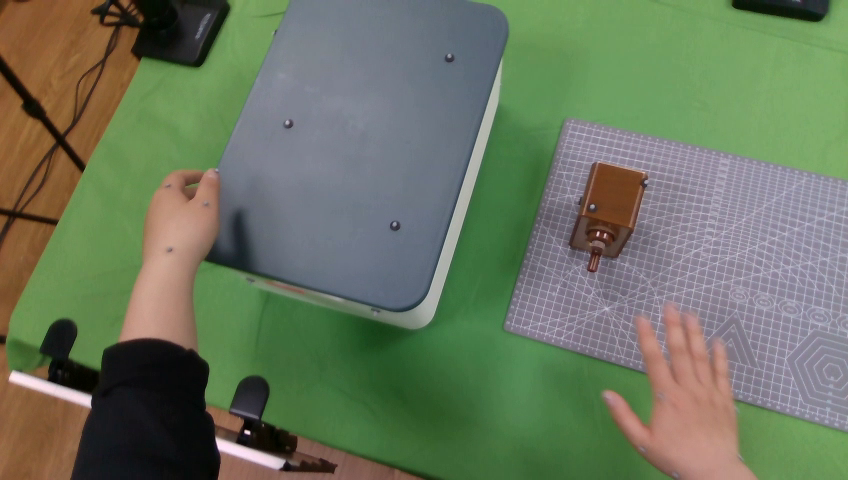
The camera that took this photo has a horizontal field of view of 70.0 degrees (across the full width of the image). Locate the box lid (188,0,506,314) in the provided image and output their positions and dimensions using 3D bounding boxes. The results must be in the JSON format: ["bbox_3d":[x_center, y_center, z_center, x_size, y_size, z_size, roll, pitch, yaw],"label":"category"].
[{"bbox_3d":[-0.076,-0.121,0.657,0.262,0.015,0.369,14,73,10],"label":"box lid"}]

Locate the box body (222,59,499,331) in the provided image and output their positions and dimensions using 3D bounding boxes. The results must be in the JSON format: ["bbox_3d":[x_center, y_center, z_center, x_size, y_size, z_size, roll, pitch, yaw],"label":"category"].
[{"bbox_3d":[-0.069,-0.094,0.726,0.253,0.161,0.362,13,73,10],"label":"box body"}]

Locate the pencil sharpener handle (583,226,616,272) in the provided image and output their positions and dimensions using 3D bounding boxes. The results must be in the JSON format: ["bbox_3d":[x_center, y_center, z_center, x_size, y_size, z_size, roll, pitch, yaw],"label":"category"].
[{"bbox_3d":[0.192,0.012,0.673,0.036,0.068,0.030,13,73,20],"label":"pencil sharpener handle"}]

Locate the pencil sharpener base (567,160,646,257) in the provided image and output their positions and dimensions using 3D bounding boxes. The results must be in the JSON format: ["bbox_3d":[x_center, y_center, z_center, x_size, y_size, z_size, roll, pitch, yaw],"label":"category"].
[{"bbox_3d":[0.207,-0.031,0.699,0.061,0.108,0.076,16,74,11],"label":"pencil sharpener base"}]
